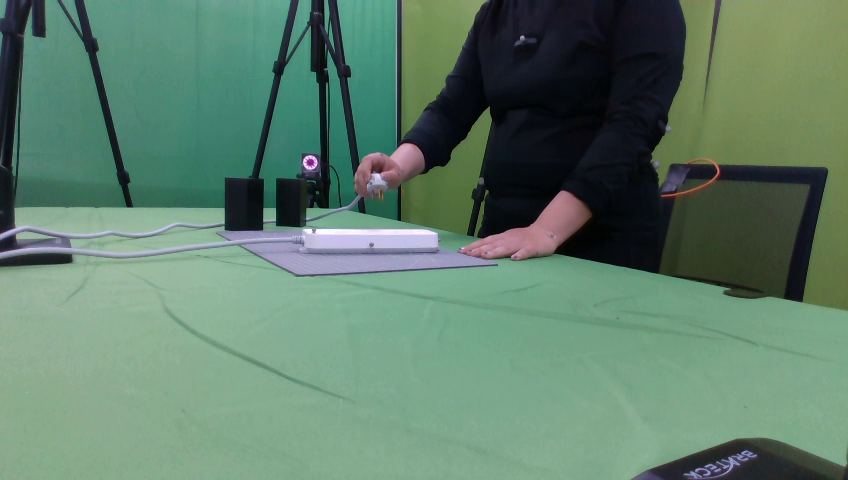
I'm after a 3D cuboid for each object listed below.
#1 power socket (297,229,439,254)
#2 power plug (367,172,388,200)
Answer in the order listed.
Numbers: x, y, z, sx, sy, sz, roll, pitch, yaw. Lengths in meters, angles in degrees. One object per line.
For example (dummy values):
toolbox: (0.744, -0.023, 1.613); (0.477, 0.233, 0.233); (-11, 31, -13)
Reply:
power socket: (-0.084, 0.001, 0.941); (0.228, 0.032, 0.072); (0, 7, -20)
power plug: (-0.080, -0.087, 1.038); (0.035, 0.052, 0.072); (-5, -16, -3)
